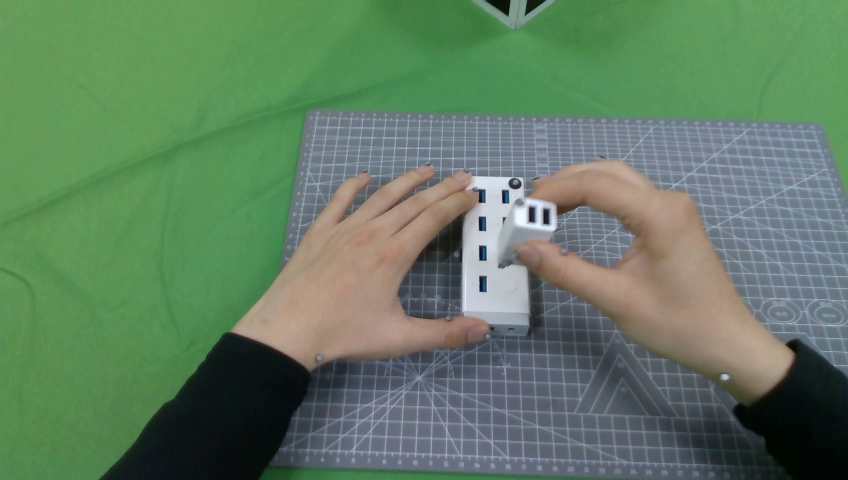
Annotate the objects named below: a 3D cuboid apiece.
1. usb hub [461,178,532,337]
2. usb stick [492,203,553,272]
[{"bbox_3d":[0.053,0.010,0.452,0.049,0.025,0.124,2,61,0],"label":"usb hub"},{"bbox_3d":[0.058,0.002,0.375,0.027,0.059,0.021,6,59,-9],"label":"usb stick"}]
